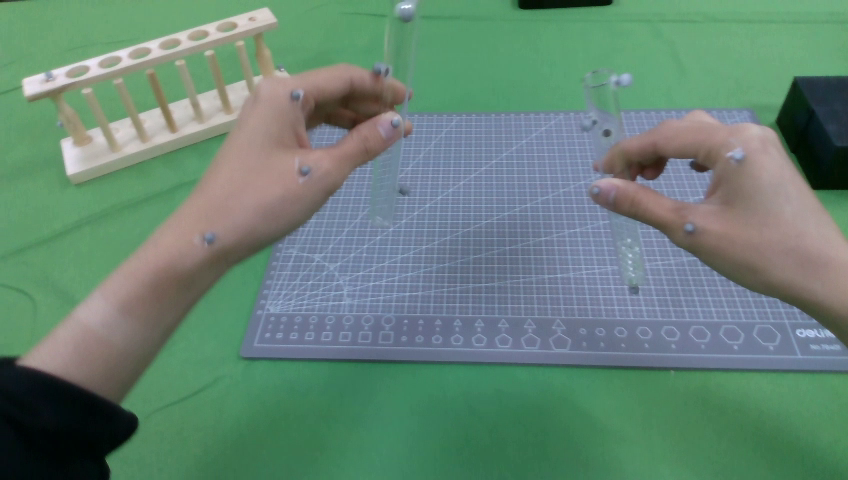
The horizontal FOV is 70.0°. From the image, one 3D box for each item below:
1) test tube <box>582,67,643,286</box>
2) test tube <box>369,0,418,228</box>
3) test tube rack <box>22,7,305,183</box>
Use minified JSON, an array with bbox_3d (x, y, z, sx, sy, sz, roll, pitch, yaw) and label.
[{"bbox_3d":[0.107,-0.027,0.337,0.017,0.152,0.017,-14,41,13],"label":"test tube"},{"bbox_3d":[-0.019,-0.063,0.330,0.017,0.151,0.017,5,45,-5],"label":"test tube"},{"bbox_3d":[-0.253,-0.150,0.613,0.242,0.086,0.066,-23,50,-16],"label":"test tube rack"}]
